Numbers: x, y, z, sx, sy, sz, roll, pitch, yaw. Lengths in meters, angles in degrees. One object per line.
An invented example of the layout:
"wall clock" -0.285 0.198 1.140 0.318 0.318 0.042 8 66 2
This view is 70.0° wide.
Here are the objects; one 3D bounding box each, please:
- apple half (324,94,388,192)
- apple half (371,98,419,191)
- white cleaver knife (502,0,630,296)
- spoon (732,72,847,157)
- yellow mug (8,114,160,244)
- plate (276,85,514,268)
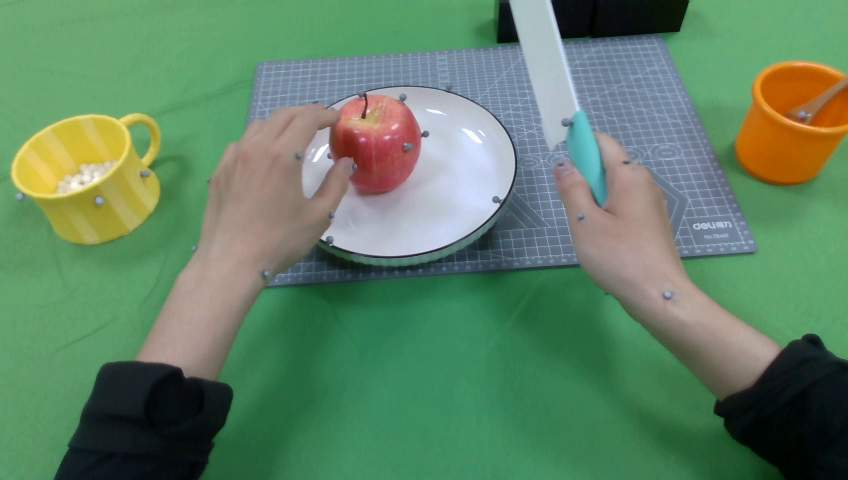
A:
"apple half" -0.059 -0.085 0.532 0.053 0.075 0.080 4 57 11
"apple half" -0.020 -0.081 0.526 0.032 0.082 0.080 3 54 12
"white cleaver knife" 0.098 -0.098 0.449 0.021 0.066 0.286 -15 89 -11
"spoon" 0.356 -0.132 0.512 0.022 0.194 0.041 25 41 -34
"yellow mug" -0.292 -0.065 0.548 0.099 0.064 0.130 26 58 20
"plate" -0.025 -0.058 0.543 0.209 0.038 0.207 -1 54 2
